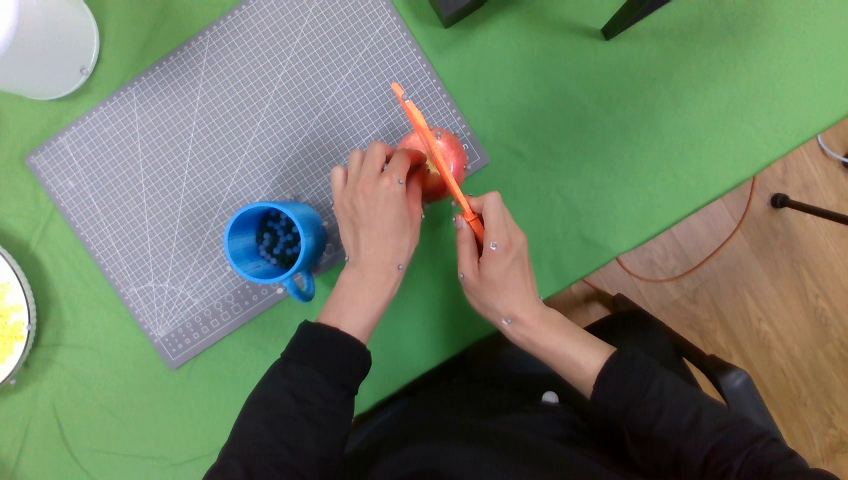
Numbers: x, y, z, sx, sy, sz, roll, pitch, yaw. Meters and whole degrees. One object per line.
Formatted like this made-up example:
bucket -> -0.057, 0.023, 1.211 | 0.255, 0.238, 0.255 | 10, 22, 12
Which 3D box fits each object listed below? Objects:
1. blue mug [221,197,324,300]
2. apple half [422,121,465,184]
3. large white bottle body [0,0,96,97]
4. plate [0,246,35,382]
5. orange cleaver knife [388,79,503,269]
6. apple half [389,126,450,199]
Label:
blue mug -> -0.151, 0.010, 0.651 | 0.082, 0.105, 0.116 | -25, 94, 4
apple half -> 0.026, -0.098, 0.649 | 0.033, 0.081, 0.081 | -25, 94, 10
large white bottle body -> -0.435, -0.219, 0.597 | 0.130, 0.184, 0.130 | 0, 95, 2
plate -> -0.552, 0.080, 0.704 | 0.209, 0.038, 0.209 | 0, 96, 2
orange cleaver knife -> 0.023, -0.059, 0.581 | 0.012, 0.076, 0.213 | -32, 122, 1
apple half -> -0.009, -0.080, 0.654 | 0.053, 0.074, 0.081 | -23, 99, 9
